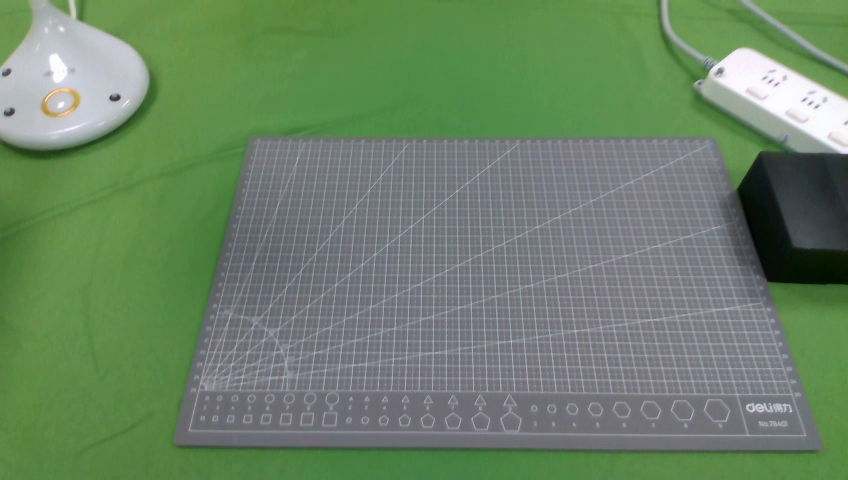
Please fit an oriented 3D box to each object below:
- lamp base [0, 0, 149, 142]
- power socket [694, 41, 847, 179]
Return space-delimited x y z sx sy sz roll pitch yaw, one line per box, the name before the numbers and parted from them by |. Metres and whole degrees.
lamp base | -0.369 -0.212 0.556 0.161 0.182 0.177 -20 55 -13
power socket | 0.370 -0.118 0.574 0.072 0.033 0.224 -36 62 -22
